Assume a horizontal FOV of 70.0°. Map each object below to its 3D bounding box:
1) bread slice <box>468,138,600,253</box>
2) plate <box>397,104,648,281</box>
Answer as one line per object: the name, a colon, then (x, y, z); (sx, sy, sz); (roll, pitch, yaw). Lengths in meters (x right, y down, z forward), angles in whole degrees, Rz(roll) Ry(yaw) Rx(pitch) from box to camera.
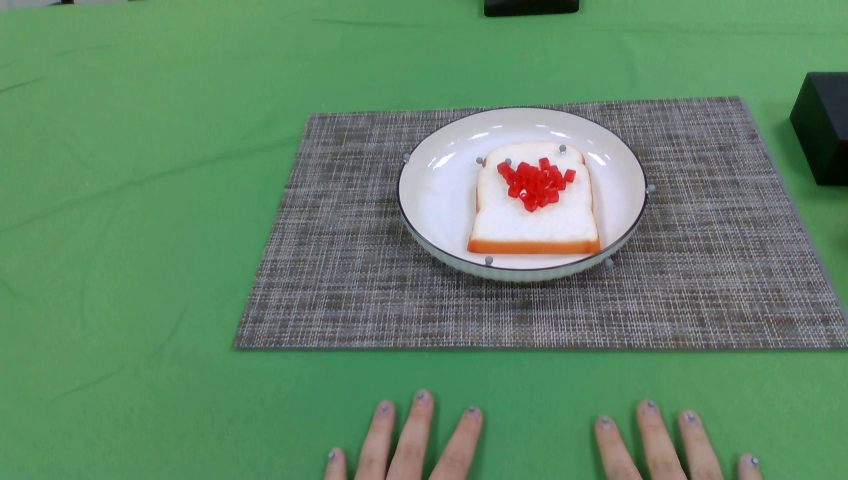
bread slice: (0.094, -0.042, 0.524); (0.105, 0.019, 0.130); (1, 48, 7)
plate: (0.081, -0.042, 0.524); (0.209, 0.038, 0.207); (-4, 48, 4)
